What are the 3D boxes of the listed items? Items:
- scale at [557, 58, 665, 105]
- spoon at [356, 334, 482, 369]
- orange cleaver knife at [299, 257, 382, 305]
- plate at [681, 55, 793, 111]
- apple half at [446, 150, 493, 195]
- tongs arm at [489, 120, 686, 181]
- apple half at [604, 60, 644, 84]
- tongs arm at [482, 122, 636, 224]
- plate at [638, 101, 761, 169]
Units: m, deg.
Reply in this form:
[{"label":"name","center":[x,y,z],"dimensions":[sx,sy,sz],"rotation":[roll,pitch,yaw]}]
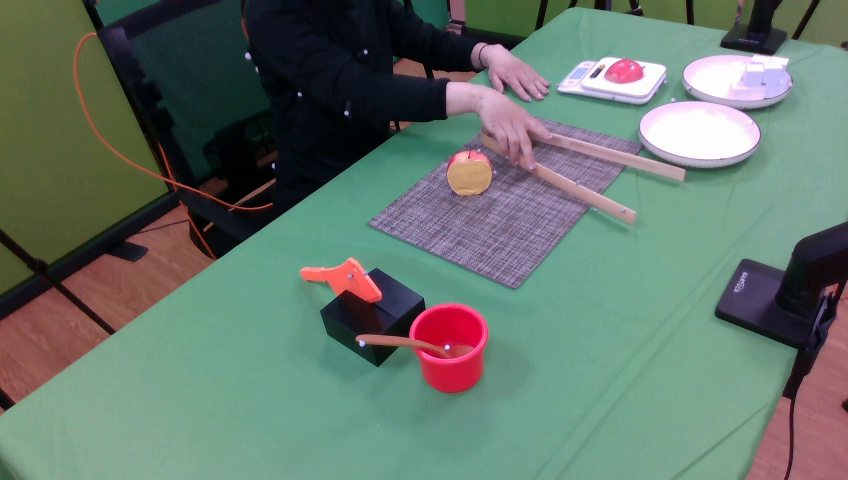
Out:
[{"label":"scale","center":[0.406,-0.348,1.314],"dimensions":[0.199,0.032,0.149],"rotation":[19,47,28]},{"label":"spoon","center":[-0.001,0.130,0.731],"dimensions":[0.195,0.021,0.041],"rotation":[21,28,-39]},{"label":"orange cleaver knife","center":[-0.124,0.061,0.872],"dimensions":[0.012,0.077,0.210],"rotation":[-38,17,-29]},{"label":"plate","center":[0.636,-0.317,1.239],"dimensions":[0.207,0.039,0.206],"rotation":[-4,40,4]},{"label":"apple half","center":[0.080,-0.124,1.065],"dimensions":[0.081,0.075,0.053],"rotation":[-7,36,7]},{"label":"tongs arm","center":[0.290,-0.171,1.123],"dimensions":[0.384,0.028,0.028],"rotation":[22,53,31]},{"label":"apple half","center":[0.424,-0.362,1.282],"dimensions":[0.081,0.033,0.081],"rotation":[-3,40,3]},{"label":"tongs arm","center":[0.230,-0.129,1.082],"dimensions":[0.051,0.026,0.381],"rotation":[-32,45,-24]},{"label":"plate","center":[0.500,-0.189,1.111],"dimensions":[0.209,0.038,0.208],"rotation":[-4,41,4]}]
